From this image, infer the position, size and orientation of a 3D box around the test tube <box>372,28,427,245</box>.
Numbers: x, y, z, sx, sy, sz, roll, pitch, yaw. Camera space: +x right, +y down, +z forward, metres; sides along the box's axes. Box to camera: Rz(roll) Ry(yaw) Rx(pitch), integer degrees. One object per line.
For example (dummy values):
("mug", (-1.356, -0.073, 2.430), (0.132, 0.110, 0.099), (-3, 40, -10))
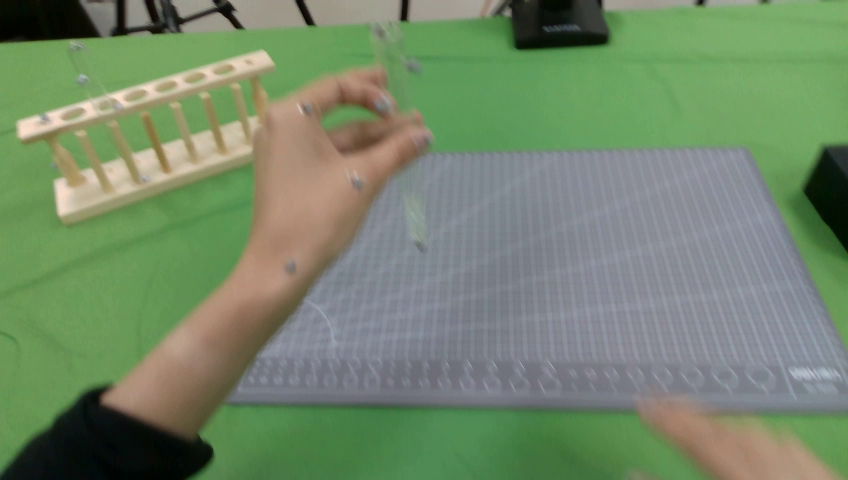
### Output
("test tube", (-0.012, -0.051, 0.356), (0.017, 0.152, 0.017), (-3, 46, 4))

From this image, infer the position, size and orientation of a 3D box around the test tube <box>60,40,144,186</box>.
("test tube", (-0.295, -0.112, 0.559), (0.017, 0.152, 0.017), (-3, 43, 3))

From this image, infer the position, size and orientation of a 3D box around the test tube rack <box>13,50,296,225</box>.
("test tube rack", (-0.263, -0.108, 0.615), (0.243, 0.086, 0.066), (-23, 48, -17))
